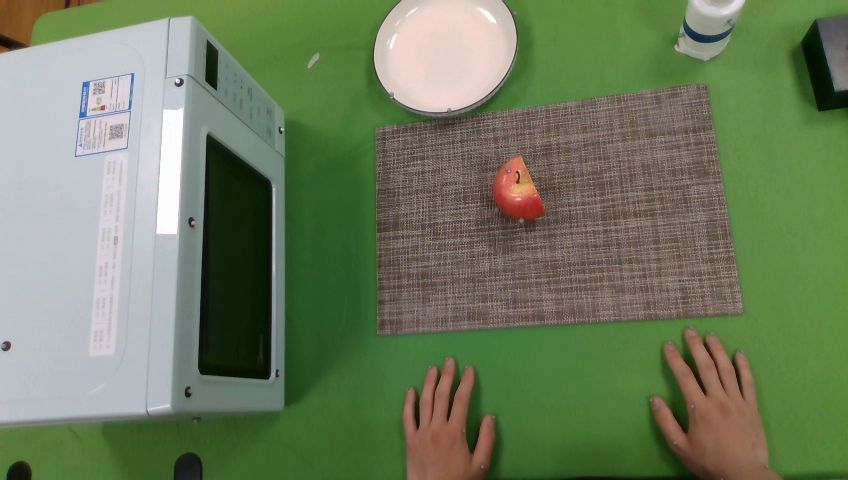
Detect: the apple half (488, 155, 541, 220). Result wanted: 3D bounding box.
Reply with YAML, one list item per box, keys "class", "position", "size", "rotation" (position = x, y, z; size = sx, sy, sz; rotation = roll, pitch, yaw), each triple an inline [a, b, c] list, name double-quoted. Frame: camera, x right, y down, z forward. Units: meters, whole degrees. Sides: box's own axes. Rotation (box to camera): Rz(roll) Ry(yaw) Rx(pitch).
- class: "apple half"
  position: [0.110, -0.060, 0.771]
  size: [0.053, 0.075, 0.080]
  rotation: [-25, 76, 9]

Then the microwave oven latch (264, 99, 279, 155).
- class: "microwave oven latch"
  position: [-0.226, -0.162, 0.874]
  size: [0.030, 0.030, 0.078]
  rotation: [-6, 75, 10]

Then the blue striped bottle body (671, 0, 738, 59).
- class: "blue striped bottle body"
  position: [0.349, -0.283, 0.752]
  size: [0.063, 0.121, 0.062]
  rotation: [-3, 75, 12]

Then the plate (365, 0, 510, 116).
- class: "plate"
  position: [0.020, -0.269, 0.866]
  size: [0.207, 0.039, 0.206]
  rotation: [-3, 76, 11]

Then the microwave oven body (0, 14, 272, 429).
- class: "microwave oven body"
  position: [-0.381, 0.001, 0.765]
  size: [0.325, 0.262, 0.439]
  rotation: [-7, 75, 10]

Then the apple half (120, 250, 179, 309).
- class: "apple half"
  position: [-0.357, 0.051, 0.777]
  size: [0.081, 0.033, 0.081]
  rotation: [0, 88, 5]

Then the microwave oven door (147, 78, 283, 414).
- class: "microwave oven door"
  position: [-0.237, 0.023, 0.722]
  size: [0.039, 0.245, 0.353]
  rotation: [-7, 74, 11]

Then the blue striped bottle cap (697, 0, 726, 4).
- class: "blue striped bottle cap"
  position: [0.338, -0.297, 0.704]
  size: [0.044, 0.021, 0.044]
  rotation: [-2, 78, 12]

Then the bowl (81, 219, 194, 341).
- class: "bowl"
  position: [-0.355, 0.054, 0.787]
  size: [0.151, 0.077, 0.151]
  rotation: [-1, 85, 17]
